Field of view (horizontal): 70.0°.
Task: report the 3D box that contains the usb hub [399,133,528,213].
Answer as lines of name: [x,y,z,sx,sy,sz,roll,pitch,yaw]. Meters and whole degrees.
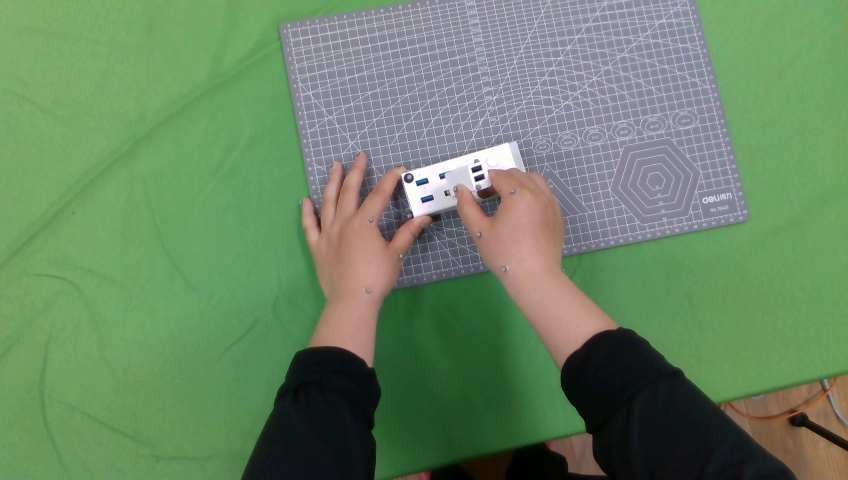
usb hub: [0.040,-0.070,0.622,0.125,0.025,0.049,-17,85,-4]

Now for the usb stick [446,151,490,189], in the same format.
usb stick: [0.039,-0.065,0.582,0.021,0.059,0.027,-25,93,-20]
